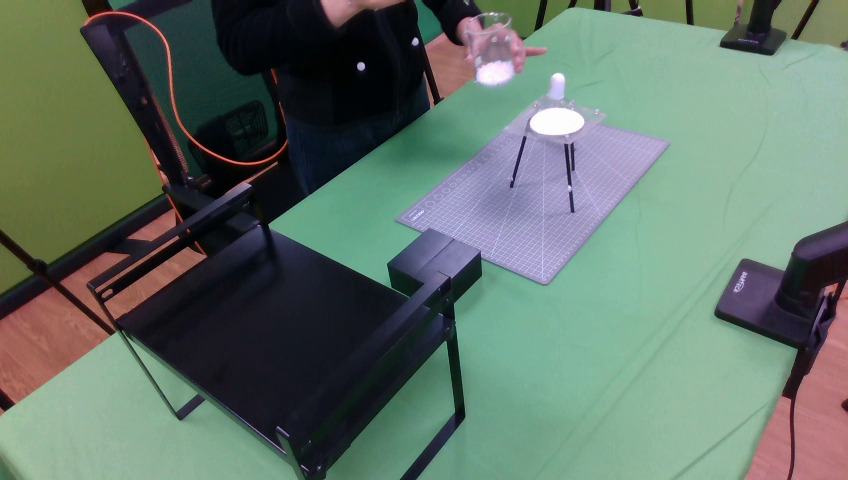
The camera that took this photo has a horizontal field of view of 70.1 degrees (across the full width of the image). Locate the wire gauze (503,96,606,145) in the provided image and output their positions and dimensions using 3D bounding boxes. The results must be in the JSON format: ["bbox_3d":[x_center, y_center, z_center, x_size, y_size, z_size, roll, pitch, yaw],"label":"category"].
[{"bbox_3d":[0.211,-0.192,0.975,0.120,0.011,0.125,24,49,32],"label":"wire gauze"}]

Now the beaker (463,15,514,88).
[{"bbox_3d":[0.111,-0.314,1.009,0.073,0.101,0.084,9,47,25],"label":"beaker"}]

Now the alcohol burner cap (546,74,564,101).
[{"bbox_3d":[0.251,-0.293,1.152,0.034,0.048,0.033,-1,42,1],"label":"alcohol burner cap"}]

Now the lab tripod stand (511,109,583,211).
[{"bbox_3d":[0.220,-0.138,1.014,0.148,0.132,0.147,-3,41,3],"label":"lab tripod stand"}]

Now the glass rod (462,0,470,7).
[{"bbox_3d":[0.015,-0.395,0.864,0.008,0.201,0.008,-13,66,31],"label":"glass rod"}]

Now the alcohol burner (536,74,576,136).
[{"bbox_3d":[0.256,-0.265,1.173,0.078,0.119,0.077,-6,40,5],"label":"alcohol burner"}]
